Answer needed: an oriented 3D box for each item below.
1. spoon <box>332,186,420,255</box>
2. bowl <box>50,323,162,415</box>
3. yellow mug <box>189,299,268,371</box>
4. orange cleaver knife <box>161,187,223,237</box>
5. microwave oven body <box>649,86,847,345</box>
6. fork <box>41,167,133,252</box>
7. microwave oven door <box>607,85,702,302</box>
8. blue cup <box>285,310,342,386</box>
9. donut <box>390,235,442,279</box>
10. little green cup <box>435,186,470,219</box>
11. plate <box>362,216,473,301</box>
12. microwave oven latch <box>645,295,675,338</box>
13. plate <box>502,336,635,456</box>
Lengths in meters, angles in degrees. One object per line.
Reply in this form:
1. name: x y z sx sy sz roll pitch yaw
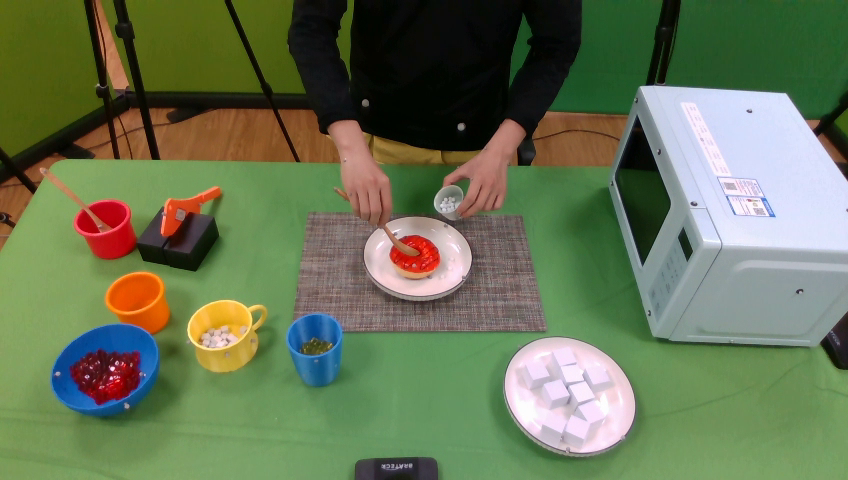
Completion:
1. spoon: -0.082 -0.033 1.047 0.021 0.194 0.041 -44 19 7
2. bowl: -0.472 0.209 0.924 0.151 0.077 0.150 3 45 -2
3. yellow mug: -0.316 0.148 1.002 0.131 0.064 0.099 -32 56 -31
4. orange cleaver knife: -0.448 -0.058 1.181 0.012 0.077 0.211 13 17 6
5. microwave oven body: 0.568 -0.053 1.118 0.326 0.261 0.439 2 45 -1
6. fork: -0.624 -0.056 1.121 0.208 0.018 0.028 49 51 -15
7. microwave oven door: 0.423 -0.094 1.141 0.039 0.245 0.353 2 46 -1
8. blue cup: -0.170 0.179 0.958 0.093 0.101 0.092 2 44 -1
9. donut: -0.016 0.031 1.135 0.099 0.048 0.098 4 44 -4
10. little green cup: 0.056 -0.069 1.144 0.061 0.039 0.061 -11 70 31
11. plate: -0.012 0.038 1.144 0.209 0.038 0.208 2 46 -2
12. microwave oven latch: 0.412 0.134 1.061 0.030 0.029 0.078 3 45 0
13. plate: 0.225 0.248 0.963 0.208 0.039 0.206 2 46 -2
